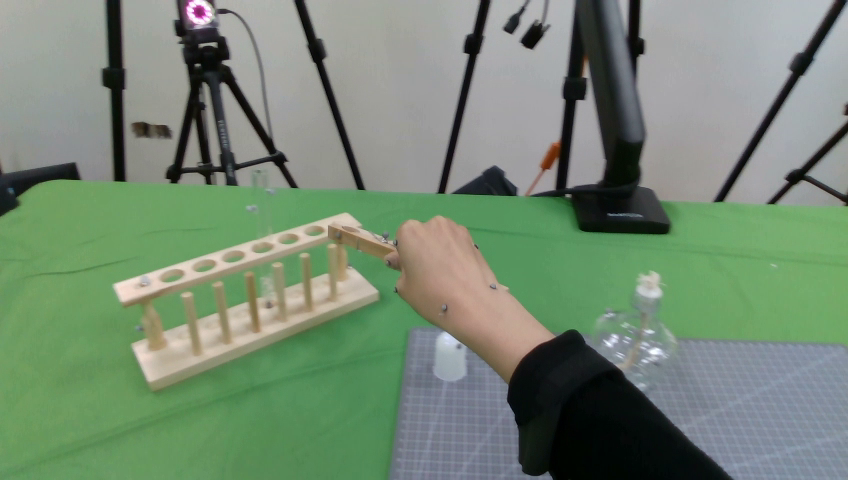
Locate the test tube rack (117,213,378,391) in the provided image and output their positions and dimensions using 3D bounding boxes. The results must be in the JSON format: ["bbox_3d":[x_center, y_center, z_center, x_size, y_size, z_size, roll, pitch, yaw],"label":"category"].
[{"bbox_3d":[-0.168,0.055,0.620,0.243,0.086,0.066,-20,37,-30],"label":"test tube rack"}]

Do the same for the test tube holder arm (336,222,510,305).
[{"bbox_3d":[-0.007,0.016,0.502,0.177,0.015,0.013,20,31,29],"label":"test tube holder arm"}]

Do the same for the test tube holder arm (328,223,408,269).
[{"bbox_3d":[-0.047,0.005,0.520,0.087,0.015,0.010,20,31,29],"label":"test tube holder arm"}]

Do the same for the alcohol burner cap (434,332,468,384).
[{"bbox_3d":[0.026,0.108,0.573,0.034,0.048,0.033,1,32,0],"label":"alcohol burner cap"}]

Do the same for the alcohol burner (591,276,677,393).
[{"bbox_3d":[0.194,0.081,0.553,0.078,0.120,0.077,1,34,0],"label":"alcohol burner"}]

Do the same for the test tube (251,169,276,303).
[{"bbox_3d":[-0.163,0.000,0.616,0.017,0.151,0.017,3,27,-1],"label":"test tube"}]
